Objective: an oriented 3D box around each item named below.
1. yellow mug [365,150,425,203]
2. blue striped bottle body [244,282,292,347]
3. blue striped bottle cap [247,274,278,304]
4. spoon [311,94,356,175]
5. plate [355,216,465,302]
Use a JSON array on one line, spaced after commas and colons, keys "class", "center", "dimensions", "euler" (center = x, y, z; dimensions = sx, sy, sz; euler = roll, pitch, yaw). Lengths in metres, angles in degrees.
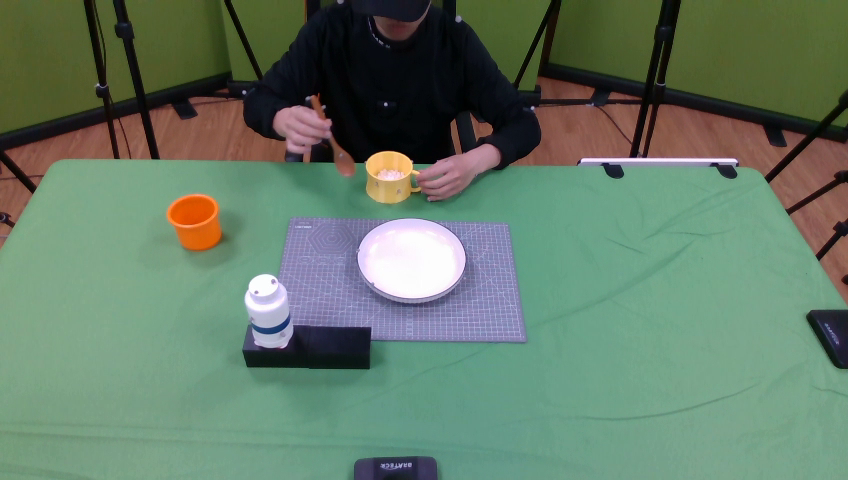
[{"class": "yellow mug", "center": [-0.061, -0.133, 1.291], "dimensions": [0.131, 0.064, 0.099], "euler": [9, 46, 4]}, {"class": "blue striped bottle body", "center": [-0.241, 0.108, 0.937], "dimensions": [0.063, 0.121, 0.062], "euler": [2, 46, -2]}, {"class": "blue striped bottle cap", "center": [-0.239, 0.072, 0.900], "dimensions": [0.044, 0.021, 0.044], "euler": [4, 46, -4]}, {"class": "spoon", "center": [-0.170, -0.193, 1.130], "dimensions": [0.041, 0.195, 0.021], "euler": [0, 55, 16]}, {"class": "plate", "center": [-0.027, 0.039, 1.144], "dimensions": [0.208, 0.039, 0.206], "euler": [2, 46, -2]}]
